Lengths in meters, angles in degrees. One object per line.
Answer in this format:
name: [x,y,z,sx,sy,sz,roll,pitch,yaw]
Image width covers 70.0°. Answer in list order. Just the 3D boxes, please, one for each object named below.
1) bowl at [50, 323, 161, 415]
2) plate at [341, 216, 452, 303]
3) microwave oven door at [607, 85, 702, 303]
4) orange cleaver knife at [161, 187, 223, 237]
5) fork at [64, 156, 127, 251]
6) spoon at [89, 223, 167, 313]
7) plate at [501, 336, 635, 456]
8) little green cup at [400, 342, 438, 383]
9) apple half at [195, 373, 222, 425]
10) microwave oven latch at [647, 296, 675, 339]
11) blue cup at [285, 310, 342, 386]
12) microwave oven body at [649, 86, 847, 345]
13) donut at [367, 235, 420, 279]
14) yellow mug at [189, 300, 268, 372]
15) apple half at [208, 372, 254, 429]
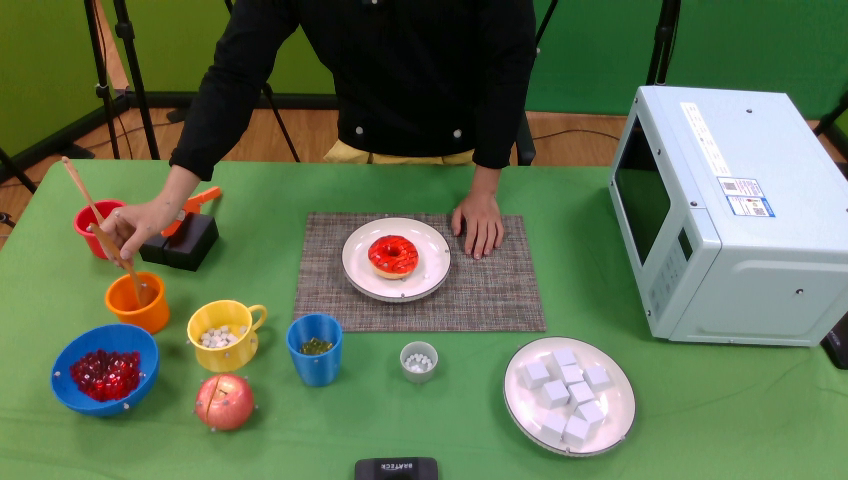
bowl: [-0.472,0.209,0.924,0.151,0.077,0.150,3,45,-2]
plate: [-0.052,0.039,1.140,0.209,0.038,0.208,2,46,-2]
microwave oven door: [0.423,-0.094,1.140,0.039,0.245,0.353,2,46,-1]
orange cleaver knife: [-0.448,-0.058,1.180,0.012,0.077,0.211,13,17,6]
fork: [-0.614,-0.064,1.129,0.028,0.018,0.207,-30,97,-15]
spoon: [-0.472,0.046,0.972,0.021,0.195,0.041,0,42,20]
plate: [0.225,0.248,0.963,0.208,0.039,0.206,2,46,-2]
little green cup: [-0.010,0.202,0.991,0.061,0.039,0.061,2,47,-2]
apple half: [-0.322,0.240,0.907,0.033,0.081,0.081,6,46,0]
microwave oven latch: [0.413,0.134,1.061,0.030,0.029,0.078,5,45,2]
blue cup: [-0.170,0.179,0.958,0.093,0.101,0.092,2,44,-1]
microwave oven body: [0.568,-0.053,1.118,0.326,0.261,0.439,2,45,-1]
donut: [-0.057,0.032,1.132,0.099,0.048,0.098,3,45,-3]
yellow mug: [-0.315,0.149,1.001,0.131,0.064,0.099,-32,55,-31]
apple half: [-0.282,0.244,0.908,0.053,0.075,0.080,7,43,-1]
